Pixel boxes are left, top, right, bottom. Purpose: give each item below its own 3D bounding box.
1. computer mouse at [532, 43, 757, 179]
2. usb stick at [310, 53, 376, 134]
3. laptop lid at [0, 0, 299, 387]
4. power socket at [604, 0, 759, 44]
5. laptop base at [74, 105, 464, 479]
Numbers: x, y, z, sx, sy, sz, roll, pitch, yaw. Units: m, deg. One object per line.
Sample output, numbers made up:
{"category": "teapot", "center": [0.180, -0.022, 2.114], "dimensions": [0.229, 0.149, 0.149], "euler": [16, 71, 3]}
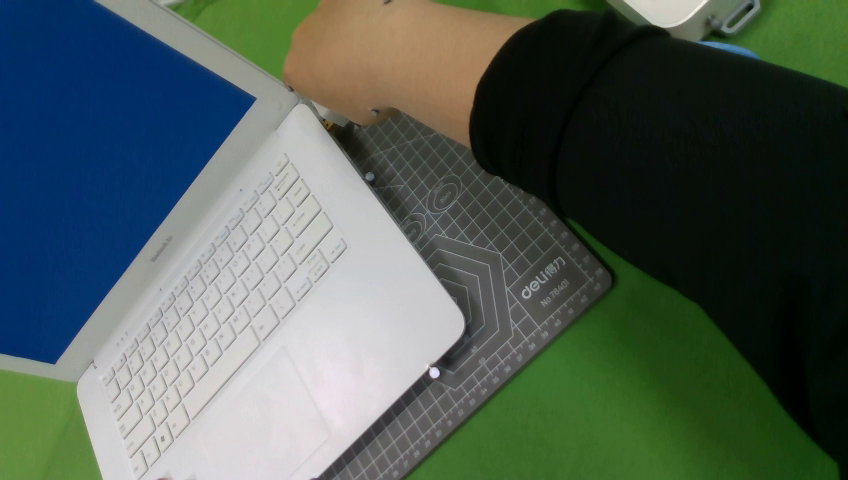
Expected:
{"category": "computer mouse", "center": [0.109, -0.068, 0.319], "dimensions": [0.116, 0.041, 0.062], "euler": [11, 88, 41]}
{"category": "usb stick", "center": [-0.063, -0.102, 0.440], "dimensions": [0.021, 0.027, 0.059], "euler": [48, 110, 31]}
{"category": "laptop lid", "center": [-0.284, -0.025, 0.442], "dimensions": [0.357, 0.244, 0.013], "euler": [-48, 45, 17]}
{"category": "power socket", "center": [0.103, -0.196, 0.355], "dimensions": [0.072, 0.033, 0.224], "euler": [-45, 58, 18]}
{"category": "laptop base", "center": [-0.146, 0.095, 0.465], "dimensions": [0.354, 0.023, 0.233], "euler": [-47, 61, 16]}
